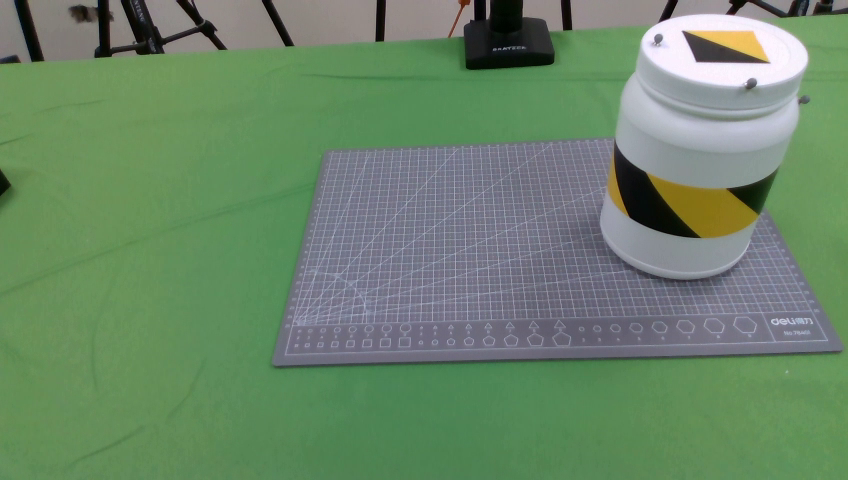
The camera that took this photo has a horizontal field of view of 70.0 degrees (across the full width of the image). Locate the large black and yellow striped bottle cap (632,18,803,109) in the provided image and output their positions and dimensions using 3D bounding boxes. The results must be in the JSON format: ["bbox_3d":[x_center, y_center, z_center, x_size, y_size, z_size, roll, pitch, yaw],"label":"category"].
[{"bbox_3d":[0.214,-0.133,0.447,0.115,0.019,0.114,-2,43,2],"label":"large black and yellow striped bottle cap"}]

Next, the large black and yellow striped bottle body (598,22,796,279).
[{"bbox_3d":[0.222,-0.072,0.505,0.131,0.186,0.129,-3,44,3],"label":"large black and yellow striped bottle body"}]
